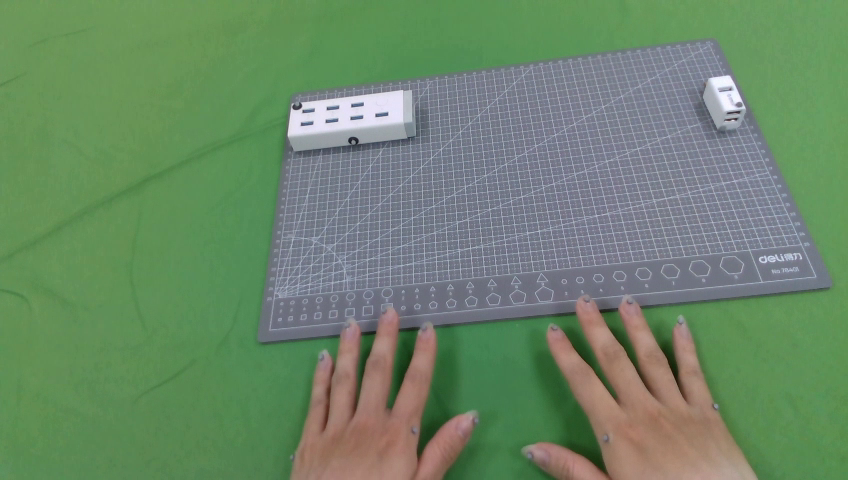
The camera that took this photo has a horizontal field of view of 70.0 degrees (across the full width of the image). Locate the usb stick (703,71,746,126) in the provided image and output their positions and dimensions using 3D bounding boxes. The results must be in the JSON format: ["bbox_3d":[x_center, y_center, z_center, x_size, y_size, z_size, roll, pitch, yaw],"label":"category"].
[{"bbox_3d":[0.274,-0.135,0.558,0.021,0.027,0.058,-8,53,6],"label":"usb stick"}]

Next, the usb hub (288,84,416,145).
[{"bbox_3d":[-0.072,-0.127,0.608,0.125,0.025,0.049,-5,56,5],"label":"usb hub"}]
